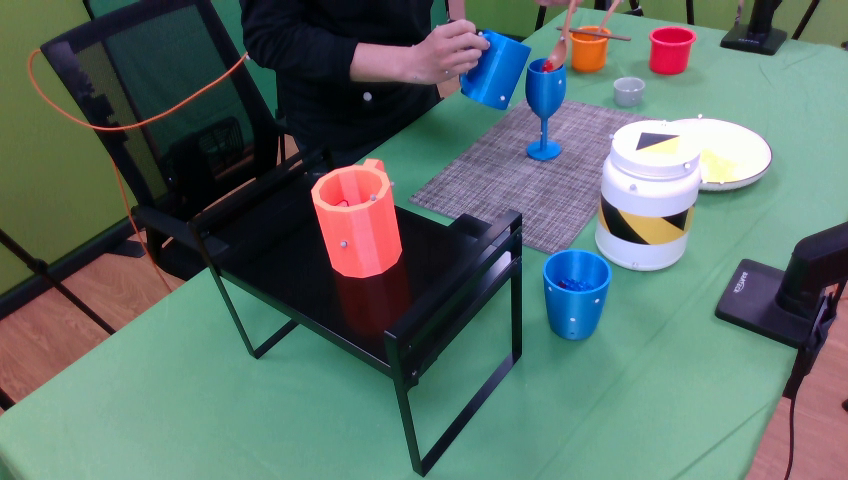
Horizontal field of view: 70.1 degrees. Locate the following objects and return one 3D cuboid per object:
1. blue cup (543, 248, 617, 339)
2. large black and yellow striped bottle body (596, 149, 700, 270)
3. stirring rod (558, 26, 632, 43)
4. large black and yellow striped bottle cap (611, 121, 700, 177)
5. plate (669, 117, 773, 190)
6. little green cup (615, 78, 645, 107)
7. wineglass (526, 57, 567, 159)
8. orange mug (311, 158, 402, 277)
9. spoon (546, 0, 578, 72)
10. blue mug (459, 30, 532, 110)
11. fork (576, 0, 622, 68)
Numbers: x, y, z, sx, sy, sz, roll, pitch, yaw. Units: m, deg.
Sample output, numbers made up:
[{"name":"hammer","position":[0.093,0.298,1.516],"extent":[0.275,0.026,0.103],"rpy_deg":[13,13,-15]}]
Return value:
[{"name":"blue cup","position":[0.199,0.076,0.797],"extent":[0.092,0.100,0.092],"rpy_deg":[-4,39,4]},{"name":"large black and yellow striped bottle body","position":[0.323,-0.062,0.877],"extent":[0.131,0.185,0.130],"rpy_deg":[-5,40,4]},{"name":"stirring rod","position":[0.381,-0.462,1.356],"extent":[0.175,0.006,0.014],"rpy_deg":[23,48,29]},{"name":"large black and yellow striped bottle cap","position":[0.315,-0.126,0.823],"extent":[0.115,0.019,0.114],"rpy_deg":[-4,42,4]},{"name":"plate","position":[0.495,-0.148,1.063],"extent":[0.209,0.038,0.208],"rpy_deg":[-5,40,4]},{"name":"little green cup","position":[0.426,-0.306,1.257],"extent":[0.061,0.039,0.061],"rpy_deg":[-5,40,4]},{"name":"wineglass","position":[0.221,-0.237,1.097],"extent":[0.074,0.173,0.073],"rpy_deg":[-4,41,4]},{"name":"orange mug","position":[-0.070,-0.034,0.694],"extent":[0.083,0.101,0.126],"rpy_deg":[5,46,16]},{"name":"spoon","position":[0.247,-0.377,1.013],"extent":[0.022,0.194,0.041],"rpy_deg":[6,19,-28]},{"name":"blue mug","position":[0.105,-0.278,0.977],"extent":[0.117,0.106,0.081],"rpy_deg":[3,28,-40]},{"name":"fork","position":[0.409,-0.484,1.381],"extent":[0.028,0.019,0.207],"rpy_deg":[37,101,46]}]
